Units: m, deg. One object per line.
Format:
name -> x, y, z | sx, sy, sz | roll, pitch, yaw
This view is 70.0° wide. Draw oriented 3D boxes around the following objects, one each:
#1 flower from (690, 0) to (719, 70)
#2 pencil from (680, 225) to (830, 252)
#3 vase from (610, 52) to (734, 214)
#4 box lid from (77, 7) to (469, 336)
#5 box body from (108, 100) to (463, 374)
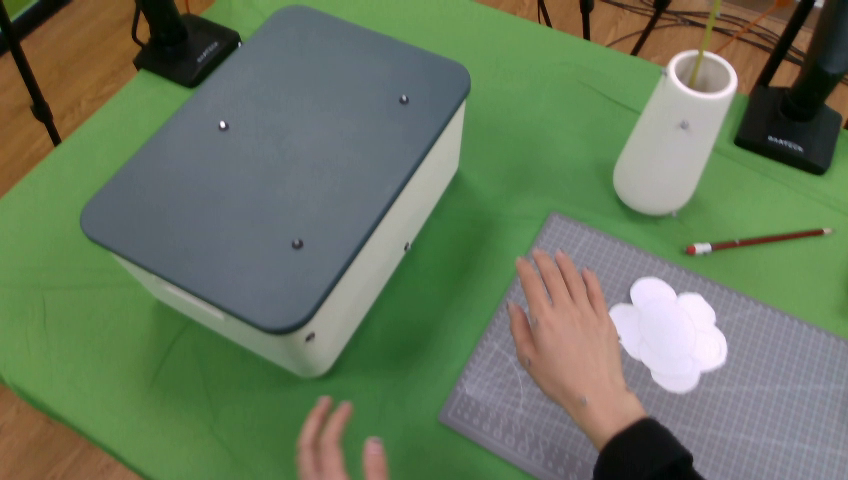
flower -> 0.279, -0.174, 0.634 | 0.044, 0.365, 0.038 | 18, 44, 16
pencil -> 0.406, -0.003, 0.738 | 0.194, 0.012, 0.012 | -8, 59, -6
vase -> 0.281, -0.117, 0.697 | 0.098, 0.202, 0.097 | -1, 57, 2
box lid -> -0.139, -0.100, 0.628 | 0.262, 0.015, 0.370 | 24, 62, 14
box body -> -0.138, -0.060, 0.690 | 0.253, 0.162, 0.362 | 24, 62, 15
